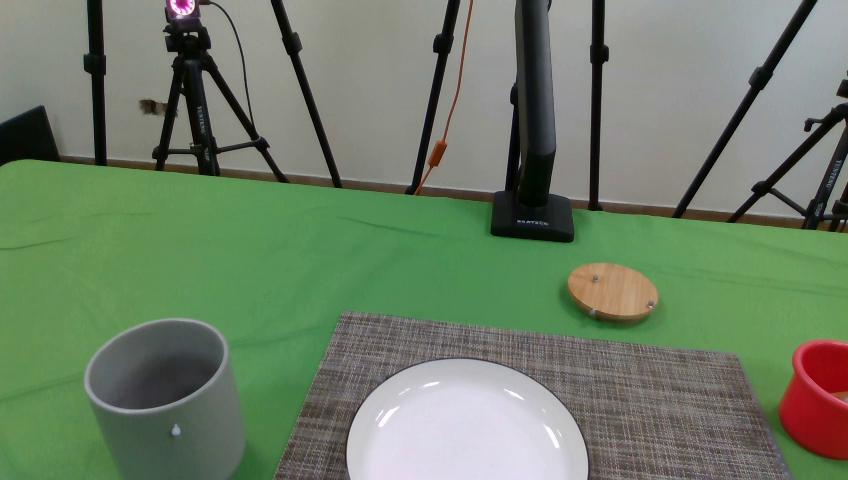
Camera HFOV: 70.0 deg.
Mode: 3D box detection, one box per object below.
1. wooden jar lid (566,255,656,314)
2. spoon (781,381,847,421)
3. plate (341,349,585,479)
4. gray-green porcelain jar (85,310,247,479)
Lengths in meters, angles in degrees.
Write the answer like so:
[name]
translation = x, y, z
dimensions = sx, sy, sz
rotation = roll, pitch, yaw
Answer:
[wooden jar lid]
translation = 0.230, 0.055, 0.752
dimensions = 0.108, 0.021, 0.107
rotation = 2, 35, -1
[spoon]
translation = 0.428, 0.122, 0.551
dimensions = 0.194, 0.022, 0.041
rotation = -34, 21, 28
[plate]
translation = 0.033, 0.181, 0.530
dimensions = 0.208, 0.039, 0.205
rotation = 2, 34, -1
[gray-green porcelain jar]
translation = -0.207, 0.139, 0.505
dimensions = 0.106, 0.127, 0.105
rotation = 2, 34, -1
